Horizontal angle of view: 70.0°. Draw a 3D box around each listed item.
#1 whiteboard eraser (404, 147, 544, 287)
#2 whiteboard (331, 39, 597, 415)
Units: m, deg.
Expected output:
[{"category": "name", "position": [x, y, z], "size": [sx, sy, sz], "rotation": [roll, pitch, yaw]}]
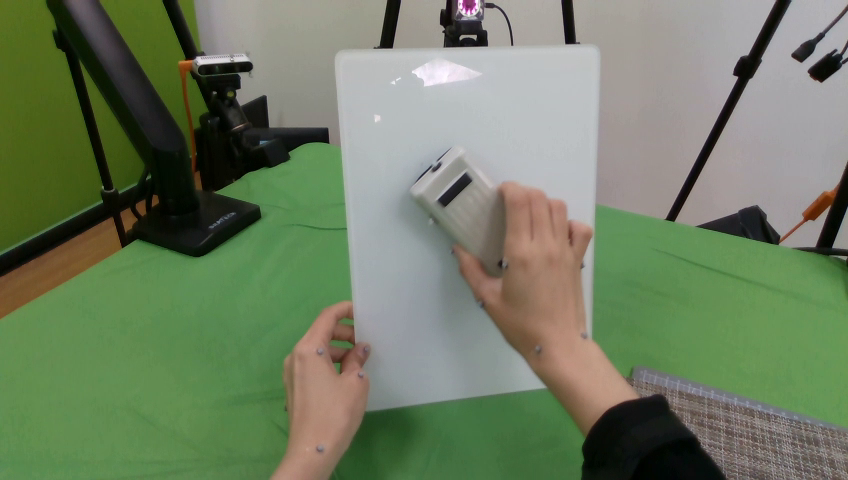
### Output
[{"category": "whiteboard eraser", "position": [0.041, -0.018, 0.486], "size": [0.055, 0.113, 0.041], "rotation": [-46, 18, 1]}, {"category": "whiteboard", "position": [0.031, -0.021, 0.573], "size": [0.218, 0.306, 0.143], "rotation": [-5, 14, -10]}]
